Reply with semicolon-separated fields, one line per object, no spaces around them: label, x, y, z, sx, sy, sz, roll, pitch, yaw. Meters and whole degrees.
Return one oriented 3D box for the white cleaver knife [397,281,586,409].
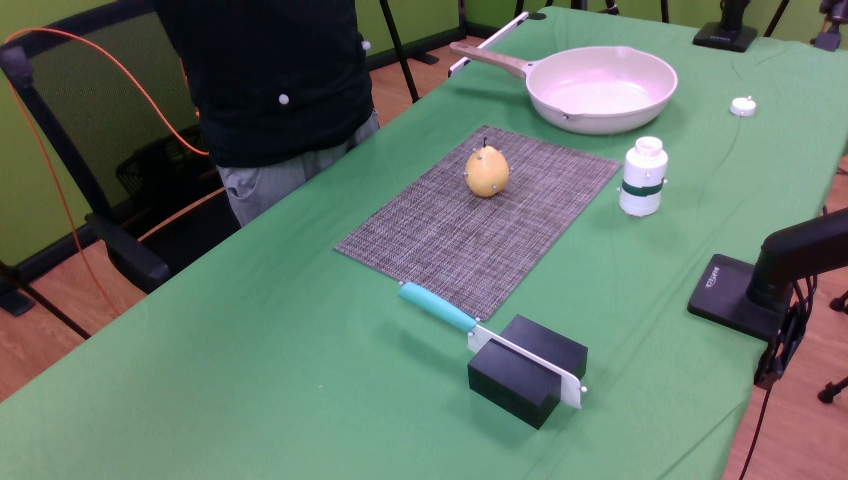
white cleaver knife;0.074;0.131;0.770;0.284;0.066;0.021;27;45;31

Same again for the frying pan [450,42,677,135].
frying pan;0.268;-0.344;1.266;0.485;0.103;0.307;26;49;21

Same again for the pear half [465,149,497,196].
pear half;0.091;-0.110;1.025;0.070;0.088;0.031;30;52;30

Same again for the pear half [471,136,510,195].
pear half;0.115;-0.136;1.036;0.076;0.110;0.056;31;53;30

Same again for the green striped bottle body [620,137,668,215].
green striped bottle body;0.350;-0.103;0.963;0.063;0.120;0.063;-4;41;4

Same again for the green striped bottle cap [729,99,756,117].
green striped bottle cap;0.623;-0.259;1.182;0.044;0.020;0.044;-3;40;3
